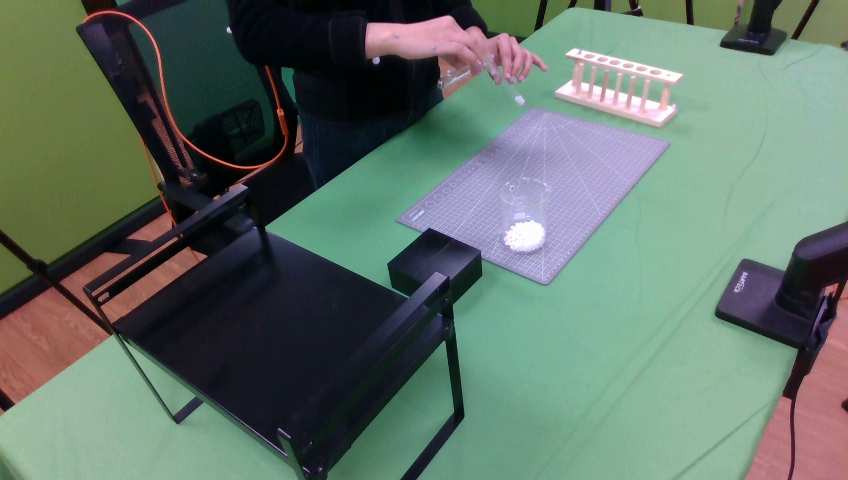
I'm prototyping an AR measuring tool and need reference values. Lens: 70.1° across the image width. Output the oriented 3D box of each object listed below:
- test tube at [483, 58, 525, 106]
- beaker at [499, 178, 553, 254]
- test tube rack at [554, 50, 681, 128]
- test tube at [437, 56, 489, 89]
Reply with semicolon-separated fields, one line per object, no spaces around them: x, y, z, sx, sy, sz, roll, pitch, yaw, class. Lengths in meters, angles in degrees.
0.146;-0.280;1.081;0.017;0.151;0.017;-13;66;31;test tube
0.158;-0.036;0.929;0.084;0.100;0.073;-16;41;-12;beaker
0.388;-0.311;1.234;0.240;0.085;0.067;28;51;34;test tube rack
0.064;-0.270;0.971;0.017;0.017;0.151;19;38;28;test tube
